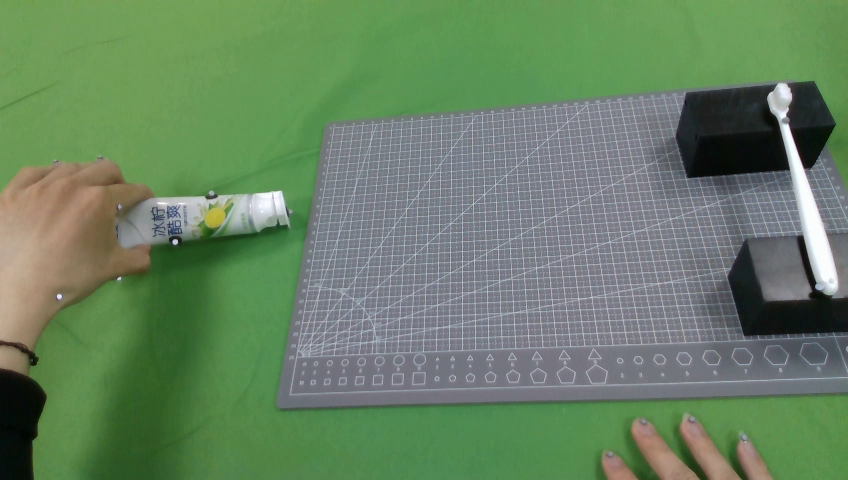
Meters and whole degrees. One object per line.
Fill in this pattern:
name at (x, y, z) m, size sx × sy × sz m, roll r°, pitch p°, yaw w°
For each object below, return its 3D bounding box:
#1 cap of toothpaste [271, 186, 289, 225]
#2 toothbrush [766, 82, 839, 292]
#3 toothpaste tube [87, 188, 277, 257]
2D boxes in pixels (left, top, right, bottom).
cap of toothpaste at (-0.128, -0.030, 0.541) m, size 0.011 × 0.037 × 0.037 m, roll -12°, pitch 54°, yaw -9°
toothbrush at (0.266, -0.045, 0.428) m, size 0.014 × 0.017 × 0.180 m, roll 8°, pitch 58°, yaw 0°
toothpaste tube at (-0.208, -0.023, 0.532) m, size 0.165 × 0.034 × 0.055 m, roll -7°, pitch 79°, yaw -7°
